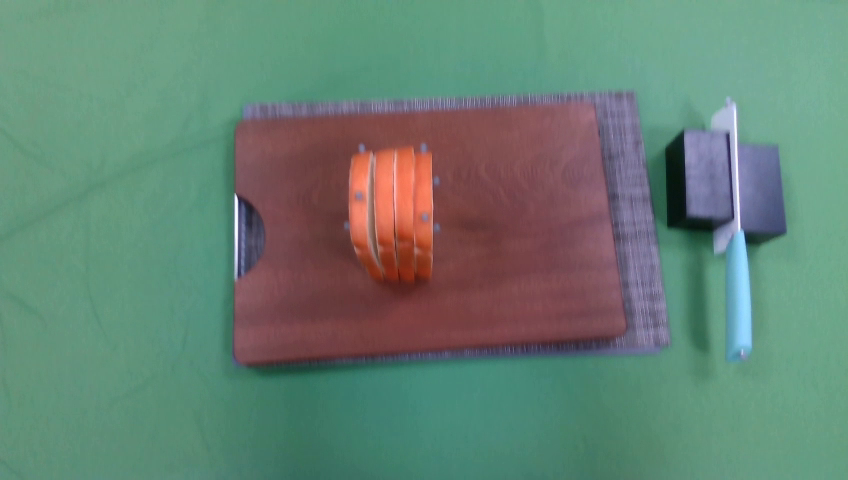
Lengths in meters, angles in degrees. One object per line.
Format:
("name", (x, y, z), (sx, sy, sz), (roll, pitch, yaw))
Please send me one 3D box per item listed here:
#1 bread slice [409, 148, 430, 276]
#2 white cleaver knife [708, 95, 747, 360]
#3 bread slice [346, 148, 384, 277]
("bread slice", (-0.005, -0.026, 0.576), (0.018, 0.134, 0.106), (-1, 80, -2))
("white cleaver knife", (0.323, -0.017, 0.647), (0.021, 0.066, 0.285), (4, 78, 6))
("bread slice", (-0.055, -0.029, 0.577), (0.019, 0.132, 0.104), (-2, 75, 4))
